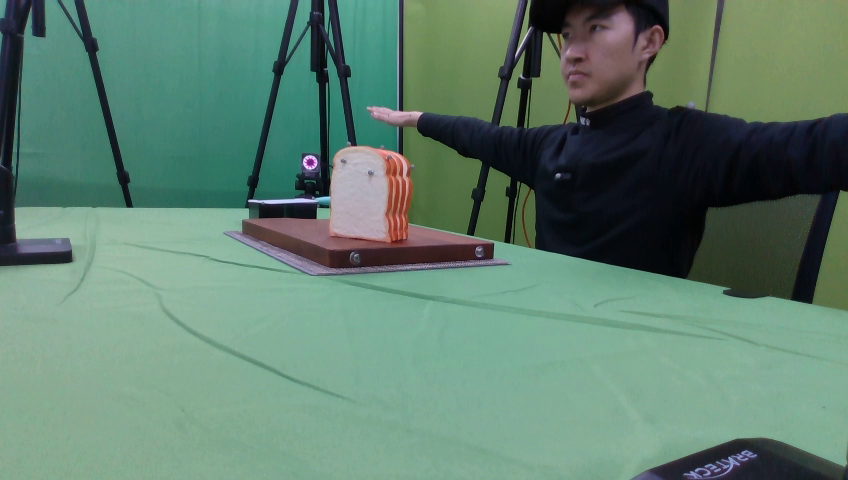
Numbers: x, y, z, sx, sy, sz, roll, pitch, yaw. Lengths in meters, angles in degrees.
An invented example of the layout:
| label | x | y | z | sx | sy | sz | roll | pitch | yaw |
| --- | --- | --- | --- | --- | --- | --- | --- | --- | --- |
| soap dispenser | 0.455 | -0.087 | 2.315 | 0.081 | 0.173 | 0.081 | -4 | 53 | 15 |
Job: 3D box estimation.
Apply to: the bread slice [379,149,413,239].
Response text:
| label | x | y | z | sx | sy | sz | roll | pitch | yaw |
| --- | --- | --- | --- | --- | --- | --- | --- | --- | --- |
| bread slice | -0.063 | -0.070 | 0.903 | 0.104 | 0.131 | 0.019 | 8 | 4 | 27 |

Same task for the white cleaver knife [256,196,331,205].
| label | x | y | z | sx | sy | sz | roll | pitch | yaw |
| --- | --- | --- | --- | --- | --- | --- | --- | --- | --- |
| white cleaver knife | -0.257 | -0.088 | 1.307 | 0.065 | 0.021 | 0.288 | 8 | 7 | 30 |

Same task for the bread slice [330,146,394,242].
| label | x | y | z | sx | sy | sz | roll | pitch | yaw |
| --- | --- | --- | --- | --- | --- | --- | --- | --- | --- |
| bread slice | -0.090 | -0.066 | 0.859 | 0.106 | 0.134 | 0.018 | 3 | 10 | 29 |
